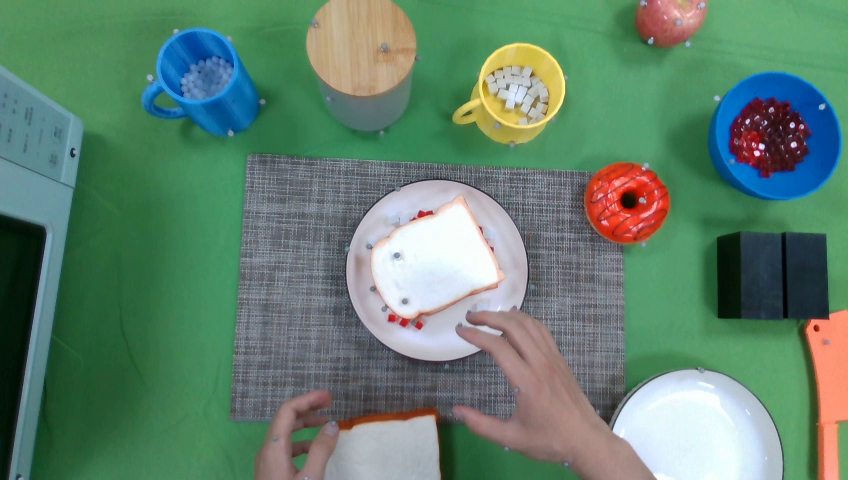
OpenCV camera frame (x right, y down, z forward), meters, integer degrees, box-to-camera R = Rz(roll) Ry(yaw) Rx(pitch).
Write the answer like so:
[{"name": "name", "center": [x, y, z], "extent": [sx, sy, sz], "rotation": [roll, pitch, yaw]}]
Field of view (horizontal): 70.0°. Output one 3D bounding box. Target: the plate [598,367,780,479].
[{"name": "plate", "center": [0.297, 0.249, 0.691], "extent": [0.209, 0.038, 0.208], "rotation": [1, 83, -4]}]

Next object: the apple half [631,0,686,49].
[{"name": "apple half", "center": [0.271, -0.259, 0.727], "extent": [0.033, 0.081, 0.081], "rotation": [-31, 86, -12]}]

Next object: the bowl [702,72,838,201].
[{"name": "bowl", "center": [0.393, -0.113, 0.719], "extent": [0.151, 0.077, 0.151], "rotation": [0, 84, -4]}]

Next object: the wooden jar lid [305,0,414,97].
[{"name": "wooden jar lid", "center": [-0.064, -0.193, 0.606], "extent": [0.108, 0.021, 0.108], "rotation": [1, 81, -4]}]

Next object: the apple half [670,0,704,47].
[{"name": "apple half", "center": [0.303, -0.280, 0.734], "extent": [0.053, 0.075, 0.080], "rotation": [-30, 82, -12]}]

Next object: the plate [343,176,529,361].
[{"name": "plate", "center": [0.013, 0.032, 0.690], "extent": [0.208, 0.039, 0.207], "rotation": [1, 84, -4]}]

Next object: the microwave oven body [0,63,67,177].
[{"name": "microwave oven body", "center": [-0.555, 0.042, 0.533], "extent": [0.326, 0.260, 0.440], "rotation": [6, 84, -4]}]

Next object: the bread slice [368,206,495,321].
[{"name": "bread slice", "center": [0.004, 0.033, 0.691], "extent": [0.131, 0.019, 0.104], "rotation": [-25, 86, -7]}]

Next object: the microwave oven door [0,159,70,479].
[{"name": "microwave oven door", "center": [-0.414, 0.099, 0.532], "extent": [0.039, 0.244, 0.354], "rotation": [5, 83, -3]}]

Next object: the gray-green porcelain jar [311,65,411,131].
[{"name": "gray-green porcelain jar", "center": [-0.068, -0.184, 0.668], "extent": [0.106, 0.126, 0.105], "rotation": [1, 83, -4]}]

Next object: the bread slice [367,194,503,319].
[{"name": "bread slice", "center": [0.006, 0.026, 0.665], "extent": [0.134, 0.018, 0.106], "rotation": [-29, 83, -8]}]

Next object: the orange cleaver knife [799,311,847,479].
[{"name": "orange cleaver knife", "center": [0.487, 0.189, 0.722], "extent": [0.077, 0.012, 0.210], "rotation": [4, 82, -10]}]

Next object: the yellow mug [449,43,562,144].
[{"name": "yellow mug", "center": [0.090, -0.164, 0.708], "extent": [0.131, 0.064, 0.099], "rotation": [-21, 86, -6]}]

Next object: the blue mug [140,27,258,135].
[{"name": "blue mug", "center": [-0.249, -0.164, 0.662], "extent": [0.116, 0.106, 0.082], "rotation": [-23, 85, -6]}]

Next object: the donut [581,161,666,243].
[{"name": "donut", "center": [0.233, -0.045, 0.713], "extent": [0.099, 0.048, 0.099], "rotation": [1, 84, -5]}]

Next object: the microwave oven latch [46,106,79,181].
[{"name": "microwave oven latch", "center": [-0.399, -0.106, 0.659], "extent": [0.030, 0.029, 0.079], "rotation": [9, 84, -4]}]
